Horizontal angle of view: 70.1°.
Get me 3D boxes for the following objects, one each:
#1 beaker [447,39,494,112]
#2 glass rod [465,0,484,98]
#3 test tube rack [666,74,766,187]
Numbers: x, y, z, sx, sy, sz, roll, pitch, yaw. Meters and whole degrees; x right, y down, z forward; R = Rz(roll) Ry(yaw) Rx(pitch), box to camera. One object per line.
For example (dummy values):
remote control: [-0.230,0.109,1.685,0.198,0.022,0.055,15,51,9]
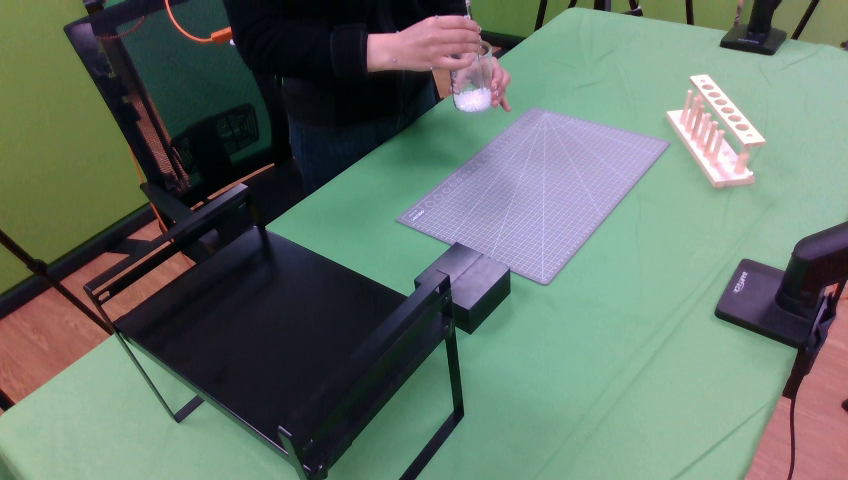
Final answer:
beaker: [0.079,-0.275,1.017,0.083,0.101,0.074,27,53,35]
glass rod: [0.081,-0.311,0.969,0.008,0.201,0.008,-8,47,9]
test tube rack: [0.512,-0.202,1.082,0.067,0.085,0.241,-5,41,2]
